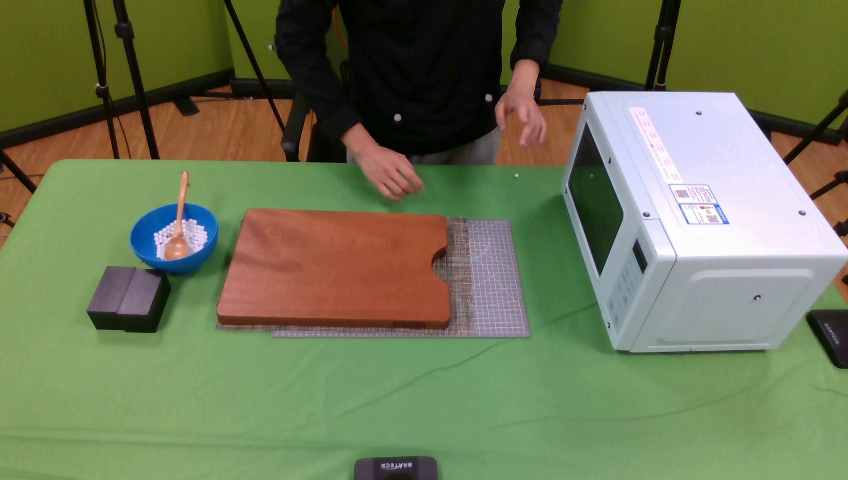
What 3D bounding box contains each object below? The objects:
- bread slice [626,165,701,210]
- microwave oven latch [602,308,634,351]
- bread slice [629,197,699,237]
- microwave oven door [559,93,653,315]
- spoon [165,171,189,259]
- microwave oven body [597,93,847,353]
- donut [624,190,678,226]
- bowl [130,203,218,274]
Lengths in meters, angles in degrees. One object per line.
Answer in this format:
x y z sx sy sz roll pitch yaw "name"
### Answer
0.453 -0.097 1.142 0.135 0.018 0.106 4 42 -19 "bread slice"
0.332 0.153 1.044 0.030 0.029 0.078 -1 45 -4 "microwave oven latch"
0.472 -0.046 1.195 0.131 0.019 0.104 7 41 11 "bread slice"
0.327 -0.074 1.123 0.039 0.245 0.353 -1 46 -5 "microwave oven door"
-0.452 -0.046 1.129 0.041 0.022 0.193 -1 69 -2 "spoon"
0.475 -0.041 1.109 0.326 0.261 0.438 -1 45 -4 "microwave oven body"
0.439 -0.062 1.172 0.099 0.048 0.098 -6 29 4 "donut"
-0.450 0.010 1.116 0.151 0.077 0.150 3 45 -2 "bowl"
